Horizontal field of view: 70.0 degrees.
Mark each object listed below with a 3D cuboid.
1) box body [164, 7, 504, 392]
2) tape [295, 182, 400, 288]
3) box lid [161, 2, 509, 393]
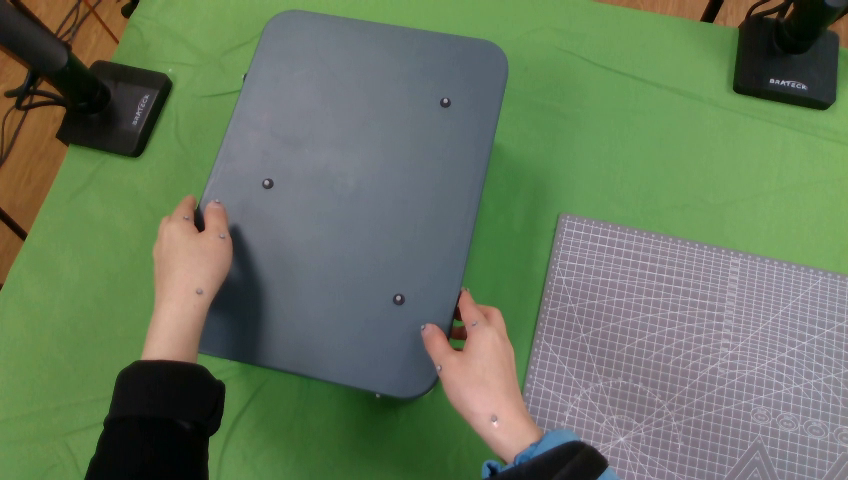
[{"bbox_3d":[-0.073,-0.036,0.653,0.254,0.161,0.362,12,73,6],"label":"box body"},{"bbox_3d":[-0.086,-0.005,0.694,0.117,0.053,0.116,-1,70,4],"label":"tape"},{"bbox_3d":[-0.076,-0.061,0.583,0.263,0.015,0.369,12,74,6],"label":"box lid"}]
